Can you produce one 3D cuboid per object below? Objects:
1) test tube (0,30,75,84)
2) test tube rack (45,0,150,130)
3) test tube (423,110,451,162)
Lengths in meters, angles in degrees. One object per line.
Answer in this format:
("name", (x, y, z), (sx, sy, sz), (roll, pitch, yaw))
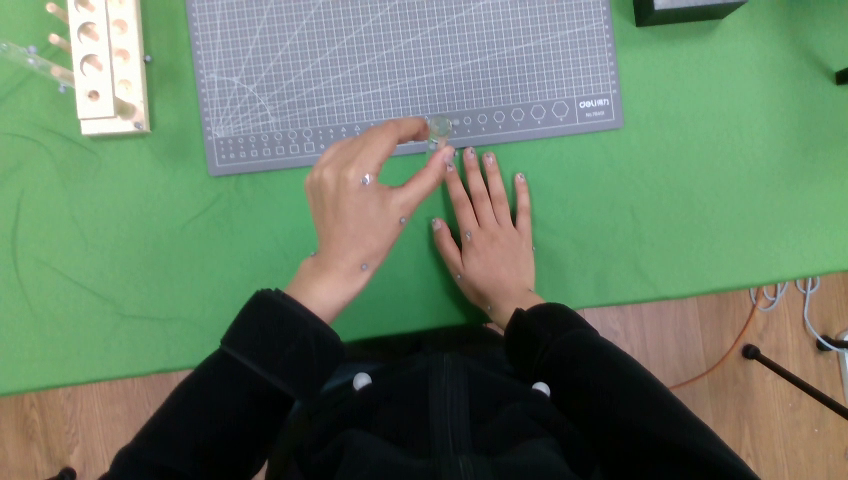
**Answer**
("test tube", (-0.343, -0.161, 0.551), (0.017, 0.150, 0.017), (0, 91, -3))
("test tube rack", (-0.329, -0.238, 0.595), (0.067, 0.085, 0.242), (-4, 91, -3))
("test tube", (0.009, -0.081, 0.491), (0.017, 0.150, 0.017), (0, 89, -1))
